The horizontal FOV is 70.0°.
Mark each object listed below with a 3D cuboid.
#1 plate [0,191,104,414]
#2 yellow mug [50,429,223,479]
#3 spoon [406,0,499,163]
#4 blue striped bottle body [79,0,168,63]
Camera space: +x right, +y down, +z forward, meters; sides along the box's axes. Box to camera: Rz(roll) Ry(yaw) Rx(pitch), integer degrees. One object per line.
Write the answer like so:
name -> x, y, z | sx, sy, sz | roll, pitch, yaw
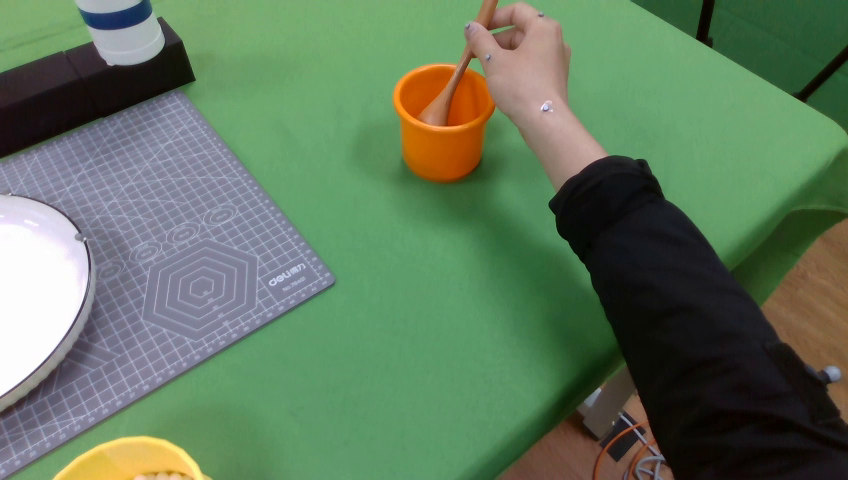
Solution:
plate -> -0.345, 0.053, 0.452 | 0.208, 0.039, 0.205 | 1, 54, -1
yellow mug -> -0.181, 0.177, 0.353 | 0.131, 0.064, 0.099 | -23, 58, -16
spoon -> 0.032, -0.157, 0.536 | 0.041, 0.194, 0.022 | 33, 17, 21
blue striped bottle body -> -0.282, -0.228, 0.548 | 0.063, 0.122, 0.062 | 1, 54, 0
